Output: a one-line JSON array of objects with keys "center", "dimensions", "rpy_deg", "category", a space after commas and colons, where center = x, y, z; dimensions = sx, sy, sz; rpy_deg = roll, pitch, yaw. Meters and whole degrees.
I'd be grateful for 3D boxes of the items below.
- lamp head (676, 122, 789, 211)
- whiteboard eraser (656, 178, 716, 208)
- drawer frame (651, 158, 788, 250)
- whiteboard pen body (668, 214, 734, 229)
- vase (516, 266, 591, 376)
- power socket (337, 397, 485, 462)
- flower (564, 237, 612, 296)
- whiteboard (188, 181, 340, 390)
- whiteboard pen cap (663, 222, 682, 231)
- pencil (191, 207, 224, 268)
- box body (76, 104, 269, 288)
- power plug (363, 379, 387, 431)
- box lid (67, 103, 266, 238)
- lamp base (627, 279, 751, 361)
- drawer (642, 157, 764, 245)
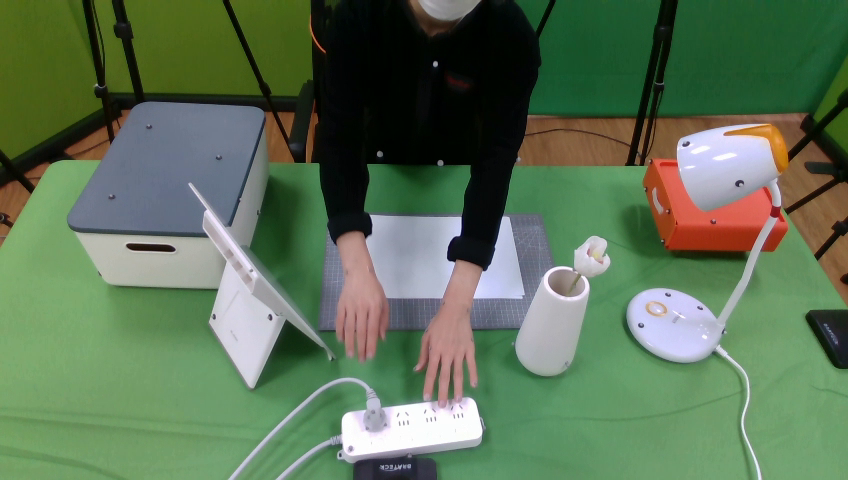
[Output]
[{"center": [0.423, -0.104, 0.819], "dimensions": [0.122, 0.113, 0.112], "rpy_deg": [-13, 33, 40], "category": "lamp head"}, {"center": [0.538, -0.095, 1.251], "dimensions": [0.113, 0.042, 0.055], "rpy_deg": [4, 52, -10], "category": "whiteboard eraser"}, {"center": [0.571, -0.074, 1.213], "dimensions": [0.214, 0.083, 0.200], "rpy_deg": [1, 46, 0], "category": "drawer frame"}, {"center": [0.547, -0.035, 1.200], "dimensions": [0.141, 0.017, 0.017], "rpy_deg": [-8, 48, -9], "category": "whiteboard pen body"}, {"center": [0.208, 0.132, 0.964], "dimensions": [0.098, 0.201, 0.097], "rpy_deg": [3, 46, -3], "category": "vase"}, {"center": [-0.018, 0.285, 0.915], "dimensions": [0.227, 0.033, 0.071], "rpy_deg": [-5, 46, -8], "category": "power socket"}, {"center": [0.206, 0.088, 0.892], "dimensions": [0.038, 0.363, 0.044], "rpy_deg": [-16, 67, -9], "category": "flower"}, {"center": [-0.292, 0.096, 0.929], "dimensions": [0.144, 0.307, 0.216], "rpy_deg": [-38, 57, -10], "category": "whiteboard"}, {"center": [0.488, -0.027, 1.188], "dimensions": [0.033, 0.018, 0.018], "rpy_deg": [0, 46, -13], "category": "whiteboard pen cap"}, {"center": [-0.419, -0.010, 1.185], "dimensions": [0.012, 0.012, 0.193], "rpy_deg": [4, 38, -1], "category": "pencil"}, {"center": [-0.450, -0.087, 1.149], "dimensions": [0.254, 0.161, 0.361], "rpy_deg": [2, 46, -2], "category": "box body"}, {"center": [-0.072, 0.252, 0.910], "dimensions": [0.035, 0.053, 0.072], "rpy_deg": [3, 45, -1], "category": "power plug"}, {"center": [-0.447, -0.137, 1.093], "dimensions": [0.263, 0.015, 0.369], "rpy_deg": [2, 45, -2], "category": "box lid"}, {"center": [0.459, 0.100, 1.027], "dimensions": [0.178, 0.181, 0.160], "rpy_deg": [27, 51, 17], "category": "lamp base"}, {"center": [0.565, -0.075, 1.211], "dimensions": [0.212, 0.073, 0.193], "rpy_deg": [3, 45, -1], "category": "drawer"}]
